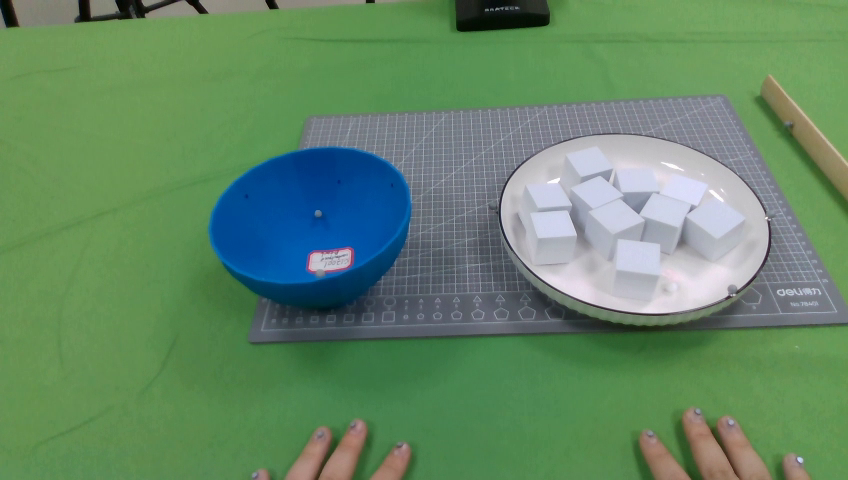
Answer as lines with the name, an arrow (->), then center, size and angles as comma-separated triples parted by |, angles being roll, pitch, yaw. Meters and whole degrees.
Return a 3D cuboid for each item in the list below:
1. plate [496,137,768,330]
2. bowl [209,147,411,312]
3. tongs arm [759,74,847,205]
plate -> 0.162, -0.008, 0.493 | 0.207, 0.039, 0.205 | -2, 46, 3
bowl -> -0.081, 0.003, 0.477 | 0.151, 0.077, 0.150 | -3, 46, 3
tongs arm -> 0.378, -0.027, 0.502 | 0.028, 0.028, 0.383 | -5, 46, -3
